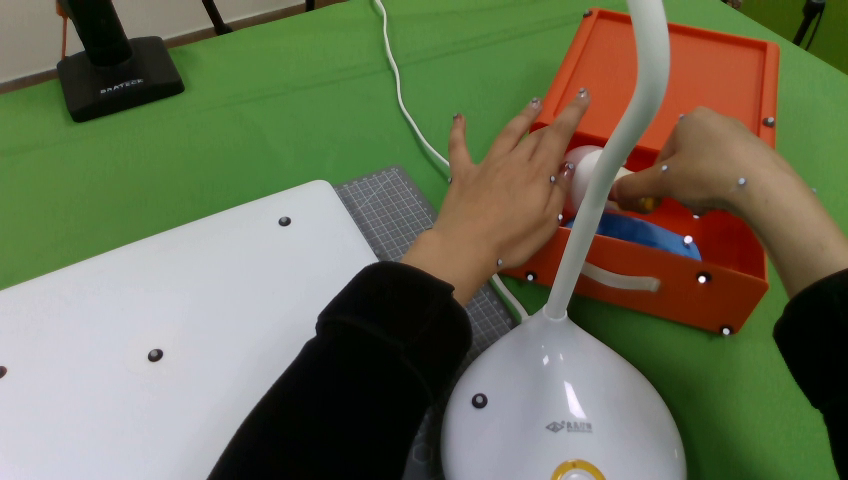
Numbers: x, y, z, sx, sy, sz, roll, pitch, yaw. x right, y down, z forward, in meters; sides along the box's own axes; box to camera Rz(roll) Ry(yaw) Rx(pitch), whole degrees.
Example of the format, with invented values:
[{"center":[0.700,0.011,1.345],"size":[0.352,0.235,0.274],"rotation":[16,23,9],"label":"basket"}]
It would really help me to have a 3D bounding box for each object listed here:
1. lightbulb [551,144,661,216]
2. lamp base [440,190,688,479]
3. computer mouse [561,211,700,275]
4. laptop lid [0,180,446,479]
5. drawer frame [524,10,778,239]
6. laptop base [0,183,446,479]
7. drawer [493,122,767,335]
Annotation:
[{"center":[0.150,-0.044,0.499],"size":[0.059,0.060,0.106],"rotation":[-25,29,-20],"label":"lightbulb"},{"center":[0.089,0.074,0.350],"size":[0.161,0.182,0.177],"rotation":[-8,47,-8],"label":"lamp base"},{"center":[0.166,0.012,0.492],"size":[0.117,0.041,0.062],"rotation":[13,50,7],"label":"computer mouse"},{"center":[-0.189,0.085,0.436],"size":[0.357,0.013,0.239],"rotation":[-21,55,-17],"label":"laptop lid"},{"center":[0.222,-0.122,0.587],"size":[0.201,0.083,0.212],"rotation":[16,50,14],"label":"drawer frame"},{"center":[-0.190,0.091,0.446],"size":[0.355,0.023,0.233],"rotation":[-23,56,-18],"label":"laptop base"},{"center":[0.182,-0.042,0.522],"size":[0.194,0.074,0.210],"rotation":[15,50,14],"label":"drawer"}]
